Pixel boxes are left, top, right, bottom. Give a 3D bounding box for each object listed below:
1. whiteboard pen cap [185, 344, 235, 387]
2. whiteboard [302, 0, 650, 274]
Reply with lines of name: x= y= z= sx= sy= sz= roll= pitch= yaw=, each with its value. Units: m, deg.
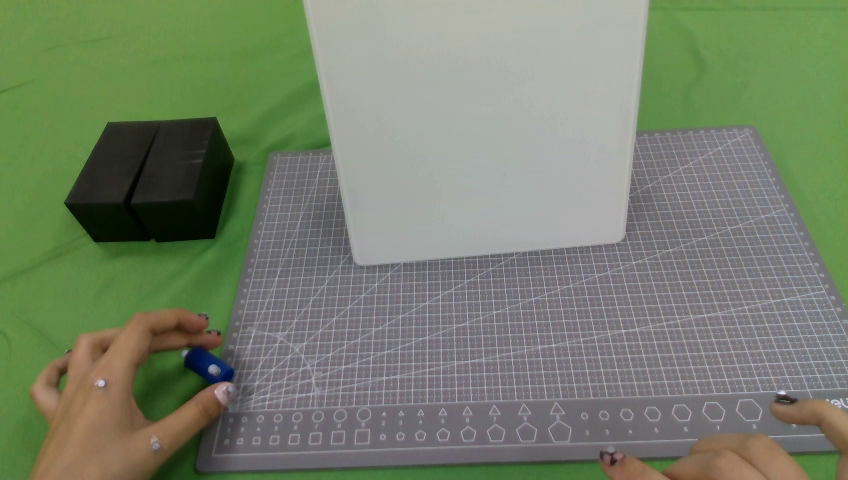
whiteboard pen cap: x=-0.148 y=0.087 z=0.418 sx=0.033 sy=0.018 sz=0.018 roll=31 pitch=60 yaw=17
whiteboard: x=0.037 y=-0.148 z=0.456 sx=0.217 sy=0.308 sz=0.142 roll=-5 pitch=32 yaw=2
